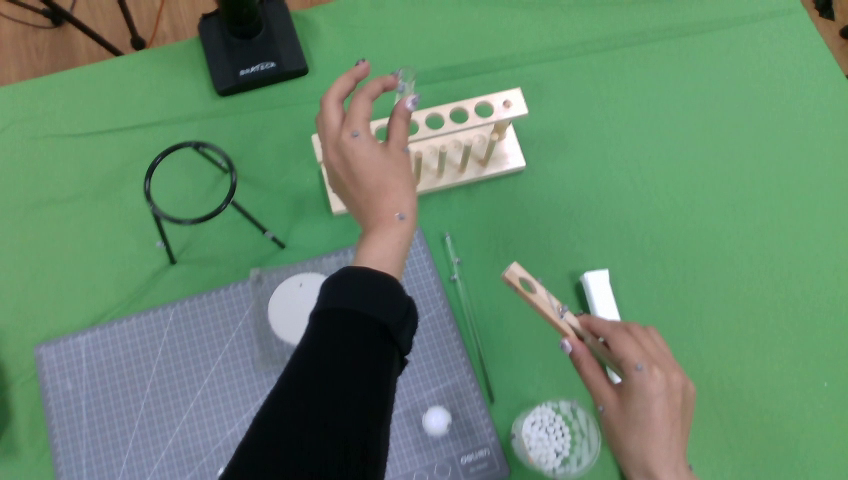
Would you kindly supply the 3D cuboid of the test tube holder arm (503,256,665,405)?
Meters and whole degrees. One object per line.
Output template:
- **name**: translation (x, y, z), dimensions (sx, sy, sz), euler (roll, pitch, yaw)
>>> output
- **test tube holder arm**: translation (0.135, 0.077, 0.509), dimensions (0.178, 0.015, 0.013), euler (41, 78, -2)

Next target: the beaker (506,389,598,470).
- **beaker**: translation (0.122, 0.192, 0.616), dimensions (0.084, 0.101, 0.073), euler (13, 72, 3)

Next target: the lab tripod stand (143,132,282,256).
- **lab tripod stand**: translation (-0.235, -0.043, 0.656), dimensions (0.148, 0.132, 0.147), euler (1, 75, -2)

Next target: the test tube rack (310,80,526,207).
- **test tube rack**: translation (-0.002, -0.111, 0.710), dimensions (0.242, 0.085, 0.066), euler (-14, 74, -6)

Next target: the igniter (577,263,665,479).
- **igniter**: translation (0.217, 0.159, 0.666), dimensions (0.057, 0.025, 0.274), euler (-6, 73, -14)

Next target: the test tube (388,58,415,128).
- **test tube**: translation (-0.022, -0.132, 0.561), dimensions (0.017, 0.150, 0.017), euler (1, 83, -6)

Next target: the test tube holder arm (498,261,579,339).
- **test tube holder arm**: translation (0.097, 0.051, 0.505), dimensions (0.088, 0.015, 0.010), euler (42, 78, -2)

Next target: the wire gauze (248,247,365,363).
- **wire gauze**: translation (-0.135, 0.073, 0.687), dimensions (0.125, 0.011, 0.120), euler (-7, 74, -5)

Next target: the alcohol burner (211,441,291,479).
- **alcohol burner**: translation (-0.170, 0.234, 0.581), dimensions (0.078, 0.120, 0.077), euler (0, 72, 0)

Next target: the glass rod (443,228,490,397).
- **glass rod**: translation (0.048, 0.080, 0.694), dimensions (0.008, 0.008, 0.198), euler (-12, 76, -6)

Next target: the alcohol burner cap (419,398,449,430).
- **alcohol burner cap**: translation (0.011, 0.183, 0.641), dimensions (0.034, 0.048, 0.033), euler (0, 73, -1)
